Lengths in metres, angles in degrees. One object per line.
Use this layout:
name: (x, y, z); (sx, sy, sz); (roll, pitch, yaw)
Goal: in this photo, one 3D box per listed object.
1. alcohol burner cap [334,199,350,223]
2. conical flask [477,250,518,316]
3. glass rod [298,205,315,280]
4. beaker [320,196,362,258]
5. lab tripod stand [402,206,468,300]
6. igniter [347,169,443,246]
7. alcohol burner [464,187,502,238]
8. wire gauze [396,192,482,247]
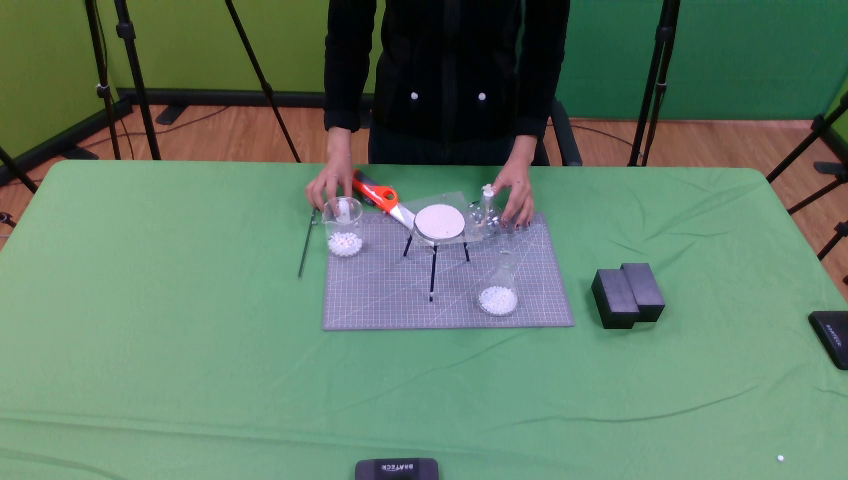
alcohol burner cap: (-0.168, -0.061, 1.227); (0.034, 0.048, 0.033); (2, 44, -2)
conical flask: (0.136, 0.072, 1.067); (0.075, 0.122, 0.075); (2, 46, -2)
glass rod: (-0.231, 0.001, 1.192); (0.008, 0.008, 0.198); (2, 46, -2)
beaker: (-0.156, -0.021, 1.150); (0.084, 0.101, 0.073); (-30, 55, -28)
lab tripod stand: (0.023, 0.013, 1.108); (0.148, 0.132, 0.147); (3, 44, -2)
igniter: (-0.068, -0.071, 1.258); (0.275, 0.025, 0.057); (37, 71, 28)
alcohol burner: (0.120, -0.061, 1.201); (0.078, 0.119, 0.077); (3, 47, -3)
wire gauze: (0.025, -0.036, 1.061); (0.125, 0.011, 0.120); (-9, 47, -14)
